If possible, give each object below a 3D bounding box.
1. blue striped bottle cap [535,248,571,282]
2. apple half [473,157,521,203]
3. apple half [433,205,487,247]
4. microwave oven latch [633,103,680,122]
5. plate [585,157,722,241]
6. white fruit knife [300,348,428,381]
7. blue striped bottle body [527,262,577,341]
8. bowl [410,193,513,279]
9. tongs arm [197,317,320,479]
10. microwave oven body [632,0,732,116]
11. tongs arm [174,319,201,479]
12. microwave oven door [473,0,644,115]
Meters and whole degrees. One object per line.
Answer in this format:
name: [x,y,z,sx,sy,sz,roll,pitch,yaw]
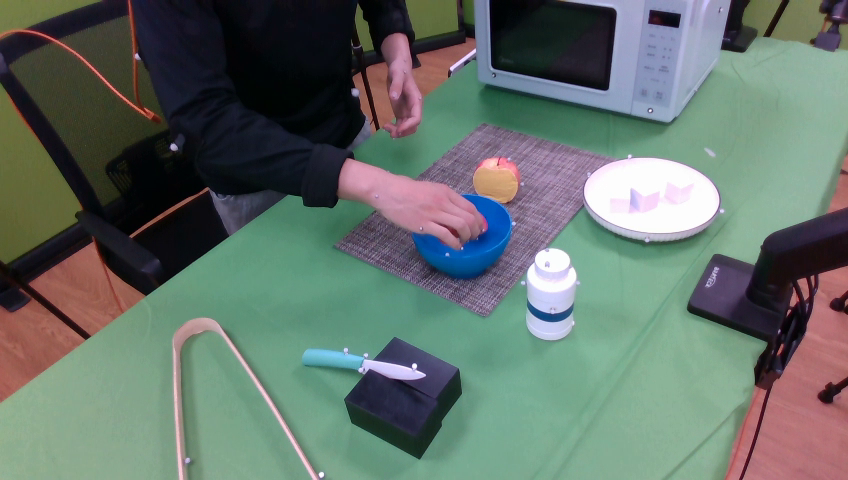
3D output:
blue striped bottle cap: [0.161,0.031,0.753,0.044,0.021,0.044,-4,42,4]
apple half: [0.128,-0.107,1.030,0.080,0.075,0.053,4,38,19]
apple half: [0.047,-0.029,0.860,0.081,0.033,0.081,-7,43,7]
microwave oven latch: [0.444,-0.249,1.158,0.078,0.029,0.030,21,49,30]
plate: [0.367,-0.063,0.979,0.207,0.039,0.206,-4,40,4]
white fruit knife: [-0.080,0.155,0.748,0.206,0.027,0.016,0,20,34]
blue striped bottle body: [0.165,0.070,0.786,0.063,0.121,0.063,-4,41,4]
bowl: [0.058,0.005,0.905,0.151,0.077,0.150,-4,40,4]
tongs arm: [-0.199,0.207,0.750,0.028,0.028,0.384,-31,45,-22]
microwave oven body: [0.377,-0.463,1.267,0.438,0.261,0.327,21,49,30]
tongs arm: [-0.272,0.234,0.723,0.051,0.026,0.381,-19,40,-15]
microwave oven door: [0.257,-0.396,1.199,0.353,0.245,0.039,21,48,29]
